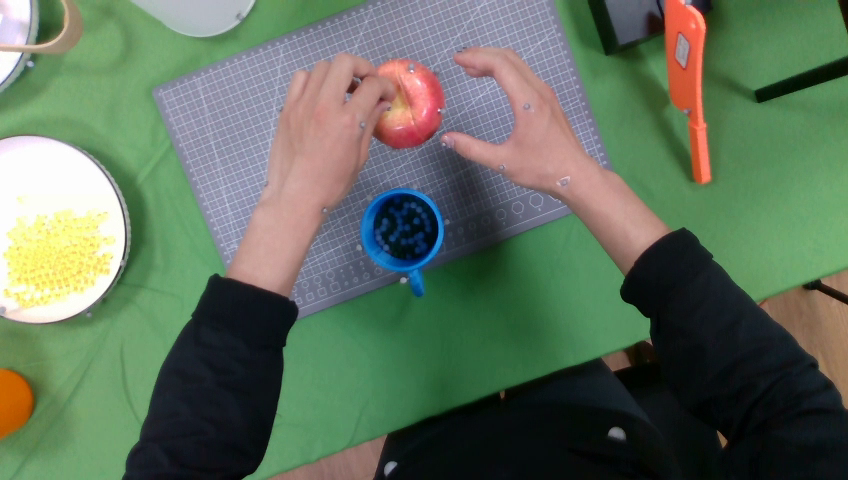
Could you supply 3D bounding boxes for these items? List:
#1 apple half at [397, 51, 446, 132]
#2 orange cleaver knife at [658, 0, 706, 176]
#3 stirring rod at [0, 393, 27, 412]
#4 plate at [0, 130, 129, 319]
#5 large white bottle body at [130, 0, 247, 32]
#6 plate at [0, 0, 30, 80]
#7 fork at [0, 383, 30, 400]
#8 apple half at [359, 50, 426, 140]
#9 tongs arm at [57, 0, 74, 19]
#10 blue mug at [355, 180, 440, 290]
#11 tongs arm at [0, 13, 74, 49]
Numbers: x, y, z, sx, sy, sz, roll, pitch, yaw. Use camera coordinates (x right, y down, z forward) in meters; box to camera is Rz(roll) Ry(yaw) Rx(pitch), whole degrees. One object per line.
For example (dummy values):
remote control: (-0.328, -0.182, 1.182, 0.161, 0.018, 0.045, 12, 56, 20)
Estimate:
apple half: (0.004, -0.142, 0.565, 0.033, 0.081, 0.081, -18, 95, 13)
orange cleaver knife: (0.270, -0.165, 0.636, 0.012, 0.076, 0.213, -22, 126, 2)
stirring rod: (-0.524, 0.202, 0.643, 0.177, 0.006, 0.014, -17, 84, -39)
plate: (-0.429, -0.017, 0.675, 0.209, 0.038, 0.209, 0, 96, 0)
large white bottle body: (-0.251, -0.286, 0.576, 0.130, 0.184, 0.130, 0, 94, 1)
plate: (-0.524, -0.252, 0.652, 0.208, 0.039, 0.208, 0, 96, 0)
fork: (-0.539, 0.186, 0.639, 0.208, 0.018, 0.028, -8, 95, -42)
apple half: (-0.033, -0.131, 0.572, 0.053, 0.074, 0.081, -19, 99, 13)
tongs arm: (-0.539, -0.310, 0.617, 0.387, 0.028, 0.028, 21, 88, 0)
blue mug: (-0.021, -0.005, 0.640, 0.082, 0.105, 0.116, -13, 95, 2)
tongs arm: (-0.557, -0.228, 0.623, 0.385, 0.026, 0.051, 7, 92, 1)
